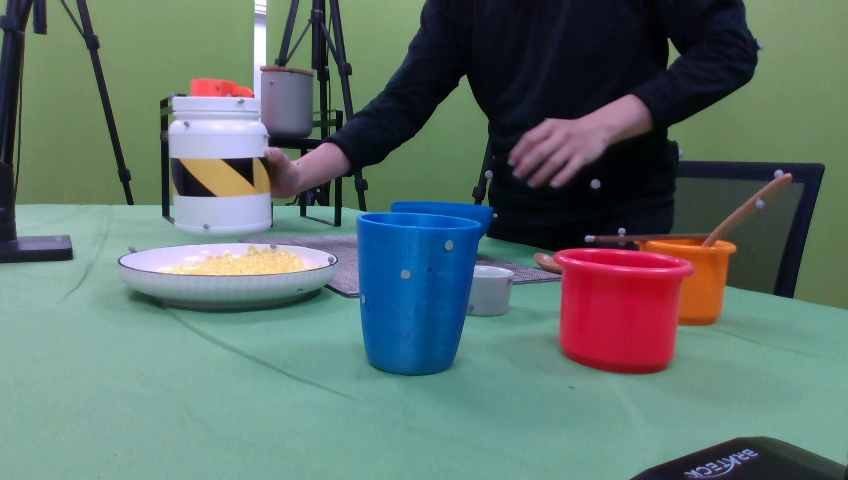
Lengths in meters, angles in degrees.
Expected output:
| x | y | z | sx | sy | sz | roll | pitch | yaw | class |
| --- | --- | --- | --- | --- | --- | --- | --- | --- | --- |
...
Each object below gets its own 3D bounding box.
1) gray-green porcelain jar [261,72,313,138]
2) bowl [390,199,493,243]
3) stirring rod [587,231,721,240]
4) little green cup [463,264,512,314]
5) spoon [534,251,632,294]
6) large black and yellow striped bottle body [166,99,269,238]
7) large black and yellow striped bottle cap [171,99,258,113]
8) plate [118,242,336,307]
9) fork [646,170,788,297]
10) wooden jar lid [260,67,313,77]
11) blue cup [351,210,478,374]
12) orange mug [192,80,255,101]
| x | y | z | sx | sy | sz | roll | pitch | yaw | class |
| --- | --- | --- | --- | --- | --- | --- | --- | --- | --- |
| -0.284 | -0.276 | 1.253 | 0.106 | 0.126 | 0.106 | 2 | 8 | 0 | gray-green porcelain jar |
| 0.024 | -0.016 | 0.874 | 0.151 | 0.077 | 0.151 | 2 | 7 | 0 | bowl |
| 0.227 | -0.005 | 0.586 | 0.177 | 0.006 | 0.014 | -1 | 7 | -29 | stirring rod |
| 0.053 | 0.047 | 0.580 | 0.061 | 0.038 | 0.061 | 3 | 8 | 0 | little green cup |
| 0.193 | 0.038 | 0.753 | 0.042 | 0.021 | 0.193 | 15 | 2 | -21 | spoon |
| -0.290 | -0.103 | 0.855 | 0.131 | 0.184 | 0.130 | 0 | 11 | 0 | large black and yellow striped bottle body |
| -0.289 | -0.186 | 0.840 | 0.115 | 0.019 | 0.115 | 1 | 12 | 0 | large black and yellow striped bottle cap |
| -0.194 | 0.033 | 0.615 | 0.209 | 0.038 | 0.209 | 2 | 7 | 0 | plate |
| 0.256 | 0.004 | 0.543 | 0.028 | 0.018 | 0.207 | 3 | -36 | -10 | fork |
| -0.283 | -0.339 | 1.245 | 0.108 | 0.020 | 0.108 | 5 | 9 | 0 | wooden jar lid |
| -0.009 | 0.034 | 0.414 | 0.093 | 0.100 | 0.092 | 3 | 8 | 0 | blue cup |
| -0.389 | -0.257 | 1.173 | 0.126 | 0.100 | 0.083 | -1 | 7 | 9 | orange mug |
